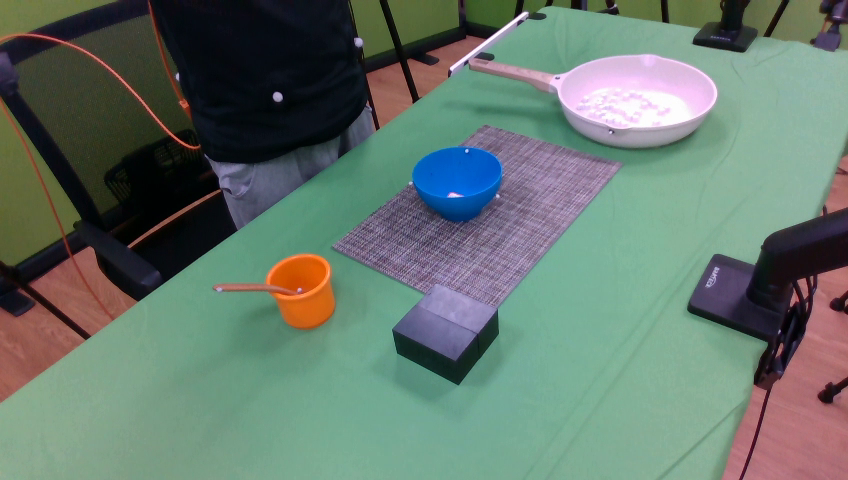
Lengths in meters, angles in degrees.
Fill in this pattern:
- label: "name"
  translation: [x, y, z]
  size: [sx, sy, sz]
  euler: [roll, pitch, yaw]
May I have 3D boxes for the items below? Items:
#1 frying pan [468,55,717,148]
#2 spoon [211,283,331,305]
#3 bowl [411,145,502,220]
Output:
- label: "frying pan"
  translation: [0.316, -0.304, 1.213]
  size: [0.485, 0.103, 0.307]
  euler: [20, 46, 17]
- label: "spoon"
  translation: [-0.201, 0.069, 0.819]
  size: [0.041, 0.195, 0.021]
  euler: [32, 99, 37]
- label: "bowl"
  translation: [0.057, -0.086, 1.010]
  size: [0.151, 0.077, 0.150]
  euler: [-4, 41, 4]
